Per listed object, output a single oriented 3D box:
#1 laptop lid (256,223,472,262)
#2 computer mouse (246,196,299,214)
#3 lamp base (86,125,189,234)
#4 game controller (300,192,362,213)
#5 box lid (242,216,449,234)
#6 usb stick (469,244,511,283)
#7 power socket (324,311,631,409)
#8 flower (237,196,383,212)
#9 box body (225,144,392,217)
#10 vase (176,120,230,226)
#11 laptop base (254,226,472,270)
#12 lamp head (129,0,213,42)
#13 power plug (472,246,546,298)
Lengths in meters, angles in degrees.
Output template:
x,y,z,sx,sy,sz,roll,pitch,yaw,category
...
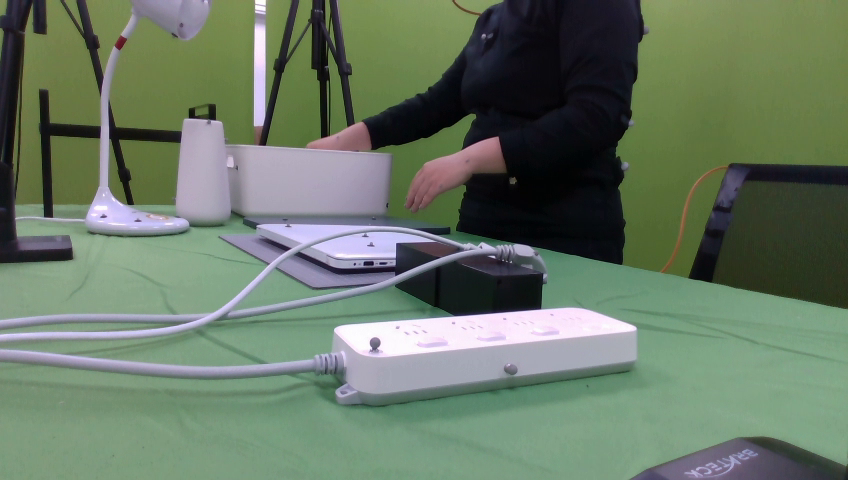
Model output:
x,y,z,sx,sy,sz,roll,pitch,yaw,category
-0.092,0.000,0.912,0.243,0.013,0.355,1,7,-30,laptop lid
-0.355,-0.083,1.418,0.117,0.041,0.063,0,10,7,computer mouse
-0.497,-0.105,1.027,0.179,0.180,0.160,1,7,3,lamp base
-0.241,-0.097,1.550,0.155,0.051,0.097,3,7,4,game controller
-0.162,-0.030,1.233,0.373,0.015,0.262,-1,8,-32,box lid
0.080,0.029,0.674,0.059,0.021,0.027,28,26,-29,usb stick
0.042,0.075,0.410,0.228,0.032,0.072,-1,8,-25,power socket
-0.281,-0.082,1.492,0.362,0.038,0.044,3,35,2,flower
-0.289,-0.143,1.475,0.366,0.160,0.253,-1,9,-29,box body
-0.425,-0.128,1.159,0.098,0.200,0.098,2,9,0,vase
-0.095,0.011,0.912,0.237,0.023,0.352,3,6,-32,laptop base
-0.423,-0.394,0.980,0.123,0.112,0.112,20,7,-3,lamp head
0.081,0.030,0.584,0.072,0.052,0.035,11,28,9,power plug
